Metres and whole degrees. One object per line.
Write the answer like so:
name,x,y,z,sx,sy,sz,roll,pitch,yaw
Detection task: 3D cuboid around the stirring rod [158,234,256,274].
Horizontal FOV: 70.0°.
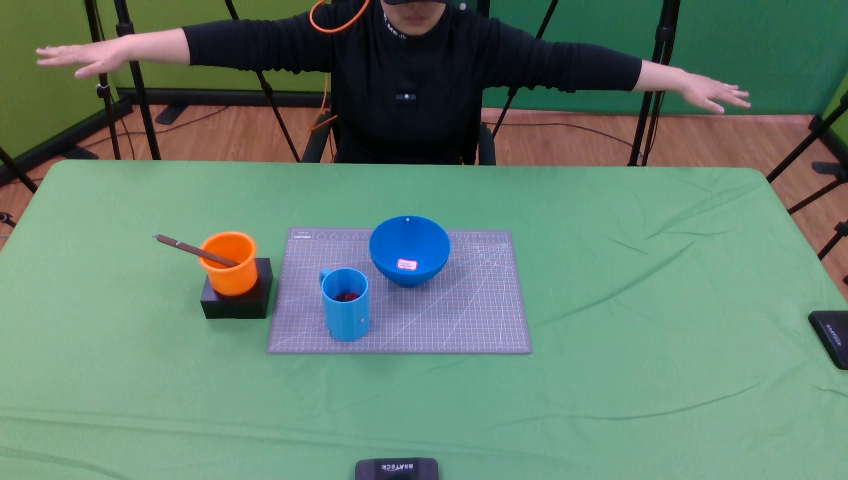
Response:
stirring rod,-0.354,0.025,0.999,0.177,0.006,0.014,27,29,-40

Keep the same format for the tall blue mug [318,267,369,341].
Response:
tall blue mug,-0.146,0.104,1.022,0.107,0.108,0.077,19,49,14

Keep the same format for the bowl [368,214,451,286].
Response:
bowl,-0.028,0.031,1.122,0.151,0.077,0.150,2,46,-2
